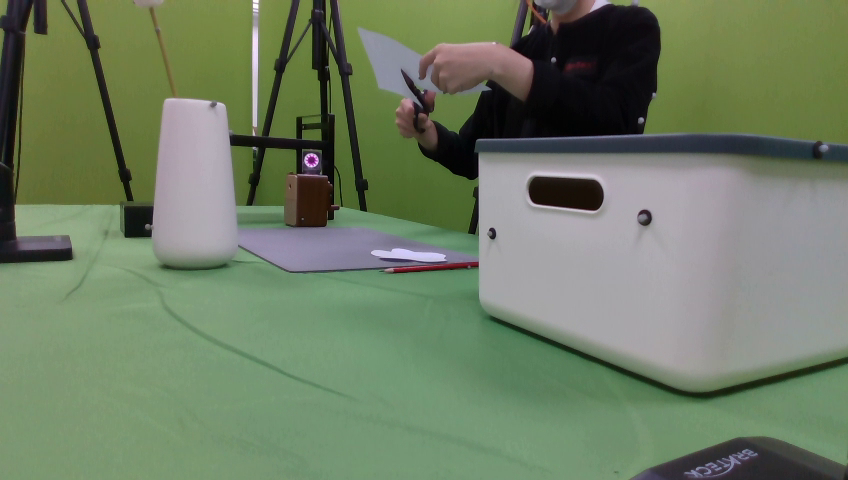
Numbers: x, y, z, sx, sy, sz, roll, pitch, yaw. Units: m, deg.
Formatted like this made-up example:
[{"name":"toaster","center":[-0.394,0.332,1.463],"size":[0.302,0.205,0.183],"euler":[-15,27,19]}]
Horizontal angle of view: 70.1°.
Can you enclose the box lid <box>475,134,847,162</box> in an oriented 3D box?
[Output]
[{"name":"box lid","center":[0.256,-0.073,0.528],"size":[0.373,0.015,0.262],"euler":[-2,8,-31]}]

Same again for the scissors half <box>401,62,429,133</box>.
[{"name":"scissors half","center":[-0.018,-0.255,1.094],"size":[0.012,0.040,0.176],"euler":[14,-29,23]}]

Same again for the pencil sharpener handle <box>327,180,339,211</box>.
[{"name":"pencil sharpener handle","center":[-0.194,-0.094,1.256],"size":[0.031,0.067,0.036],"euler":[-2,-6,-36]}]

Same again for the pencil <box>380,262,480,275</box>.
[{"name":"pencil","center":[0.030,0.036,0.794],"size":[0.195,0.012,0.012],"euler":[-3,9,-30]}]

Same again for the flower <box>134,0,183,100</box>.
[{"name":"flower","center":[-0.282,-0.147,0.713],"size":[0.038,0.362,0.044],"euler":[-23,24,-31]}]

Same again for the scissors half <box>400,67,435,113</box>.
[{"name":"scissors half","center":[-0.011,-0.275,1.100],"size":[0.013,0.040,0.176],"euler":[9,-5,21]}]

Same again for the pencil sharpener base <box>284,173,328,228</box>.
[{"name":"pencil sharpener base","center":[-0.239,-0.081,1.231],"size":[0.077,0.107,0.061],"euler":[-2,8,-36]}]

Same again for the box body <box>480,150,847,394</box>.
[{"name":"box body","center":[0.254,0.002,0.539],"size":[0.366,0.160,0.253],"euler":[-2,8,-31]}]

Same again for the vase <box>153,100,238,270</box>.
[{"name":"vase","center":[-0.278,-0.066,0.736],"size":[0.098,0.200,0.098],"euler":[2,9,0]}]
